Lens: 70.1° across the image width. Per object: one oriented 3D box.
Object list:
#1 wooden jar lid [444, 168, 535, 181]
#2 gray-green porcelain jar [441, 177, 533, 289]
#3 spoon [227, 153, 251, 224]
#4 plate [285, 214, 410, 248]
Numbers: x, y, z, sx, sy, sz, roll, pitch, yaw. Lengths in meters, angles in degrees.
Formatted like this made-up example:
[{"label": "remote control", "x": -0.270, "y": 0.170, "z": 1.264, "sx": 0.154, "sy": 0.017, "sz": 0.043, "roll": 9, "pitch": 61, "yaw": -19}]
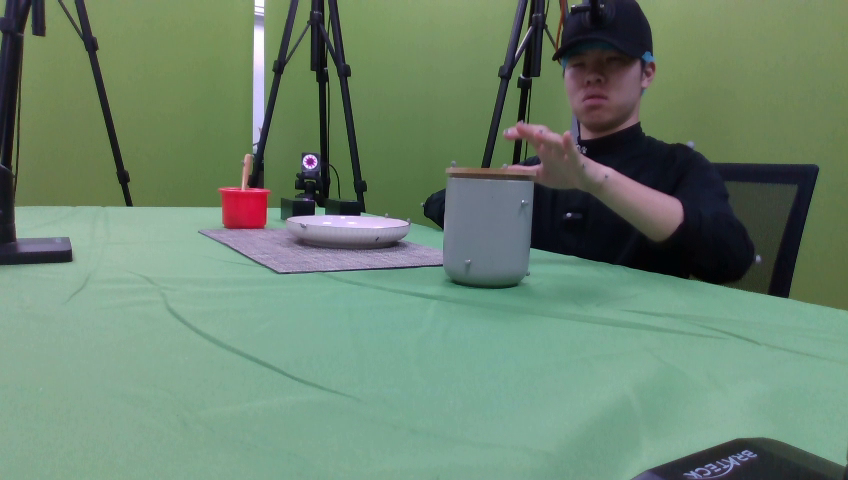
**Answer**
[{"label": "wooden jar lid", "x": 0.077, "y": -0.074, "z": 0.718, "sx": 0.108, "sy": 0.020, "sz": 0.108, "roll": 1, "pitch": 5, "yaw": 0}, {"label": "gray-green porcelain jar", "x": 0.075, "y": -0.010, "z": 0.727, "sx": 0.106, "sy": 0.126, "sz": 0.106, "roll": 2, "pitch": 7, "yaw": 0}, {"label": "spoon", "x": -0.363, "y": -0.107, "z": 1.211, "sx": 0.042, "sy": 0.021, "sz": 0.193, "roll": -1, "pitch": 47, "yaw": -7}, {"label": "plate", "x": -0.127, "y": -0.015, "z": 1.012, "sx": 0.208, "sy": 0.039, "sz": 0.207, "roll": 3, "pitch": 7, "yaw": 0}]
